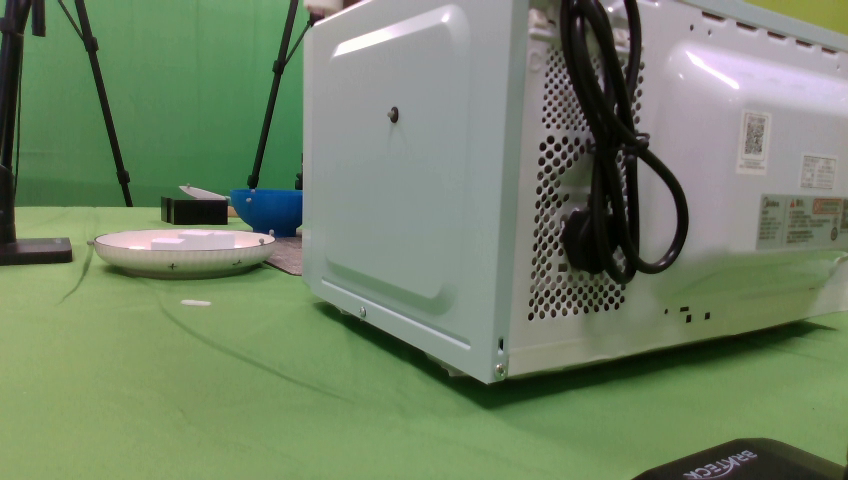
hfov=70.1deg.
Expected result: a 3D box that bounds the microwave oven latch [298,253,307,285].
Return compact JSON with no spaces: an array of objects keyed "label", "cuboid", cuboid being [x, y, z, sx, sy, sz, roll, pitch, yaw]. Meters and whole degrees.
[{"label":"microwave oven latch","cuboid":[-0.081,0.027,0.582,0.079,0.029,0.030,-2,7,-33]}]

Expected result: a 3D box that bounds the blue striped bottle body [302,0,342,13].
[{"label":"blue striped bottle body","cuboid":[-0.156,-0.429,0.962,0.063,0.120,0.063,8,9,-1]}]

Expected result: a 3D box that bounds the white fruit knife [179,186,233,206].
[{"label":"white fruit knife","cuboid":[-0.413,-0.081,1.270,0.208,0.027,0.016,18,14,-41]}]

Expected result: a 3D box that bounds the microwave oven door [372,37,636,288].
[{"label":"microwave oven door","cuboid":[0.110,-0.080,0.686,0.358,0.243,0.039,-2,9,-33]}]

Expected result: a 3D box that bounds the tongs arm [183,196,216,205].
[{"label":"tongs arm","cuboid":[-0.404,-0.081,1.479,0.385,0.026,0.050,4,8,-2]}]

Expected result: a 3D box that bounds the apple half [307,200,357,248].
[{"label":"apple half","cuboid":[-0.135,-0.024,0.941,0.053,0.074,0.081,13,8,39]}]

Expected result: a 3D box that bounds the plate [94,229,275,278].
[{"label":"plate","cuboid":[-0.291,0.016,0.749,0.208,0.039,0.207,2,7,0]}]

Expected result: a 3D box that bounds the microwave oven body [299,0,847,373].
[{"label":"microwave oven body","cuboid":[0.152,-0.055,0.542,0.444,0.260,0.324,-2,7,-33]}]

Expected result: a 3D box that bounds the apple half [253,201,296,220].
[{"label":"apple half","cuboid":[-0.264,-0.053,1.067,0.081,0.033,0.081,1,9,0]}]

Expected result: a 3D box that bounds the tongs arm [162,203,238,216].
[{"label":"tongs arm","cuboid":[-0.396,-0.067,1.399,0.389,0.028,0.028,1,5,-15]}]

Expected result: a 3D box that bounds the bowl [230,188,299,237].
[{"label":"bowl","cuboid":[-0.264,-0.048,1.065,0.151,0.077,0.151,3,8,0]}]
